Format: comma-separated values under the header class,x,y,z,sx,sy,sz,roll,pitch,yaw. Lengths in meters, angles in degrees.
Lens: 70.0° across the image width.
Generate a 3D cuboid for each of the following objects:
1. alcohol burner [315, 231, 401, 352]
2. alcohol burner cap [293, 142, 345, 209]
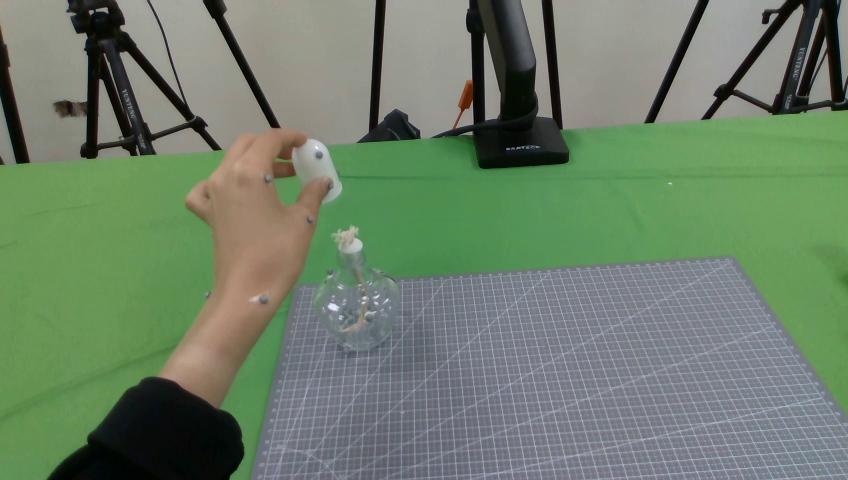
class,x,y,z,sx,sy,sz,roll,pitch,yaw
alcohol burner,-0.059,0.040,0.528,0.078,0.120,0.077,-1,38,1
alcohol burner cap,-0.080,-0.051,0.453,0.034,0.048,0.033,-5,44,5
